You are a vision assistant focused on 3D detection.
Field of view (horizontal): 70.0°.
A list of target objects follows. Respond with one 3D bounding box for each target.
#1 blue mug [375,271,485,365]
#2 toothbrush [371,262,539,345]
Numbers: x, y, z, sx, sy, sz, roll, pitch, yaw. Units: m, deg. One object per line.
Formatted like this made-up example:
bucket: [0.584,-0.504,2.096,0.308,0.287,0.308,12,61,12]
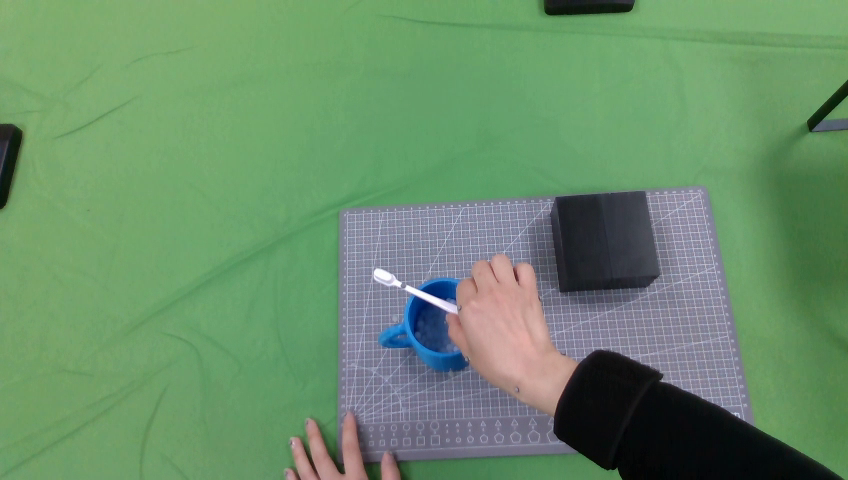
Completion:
blue mug: [0.006,0.089,0.648,0.116,0.106,0.082,-12,71,-1]
toothbrush: [0.028,0.061,0.594,0.181,0.017,0.014,24,69,10]
